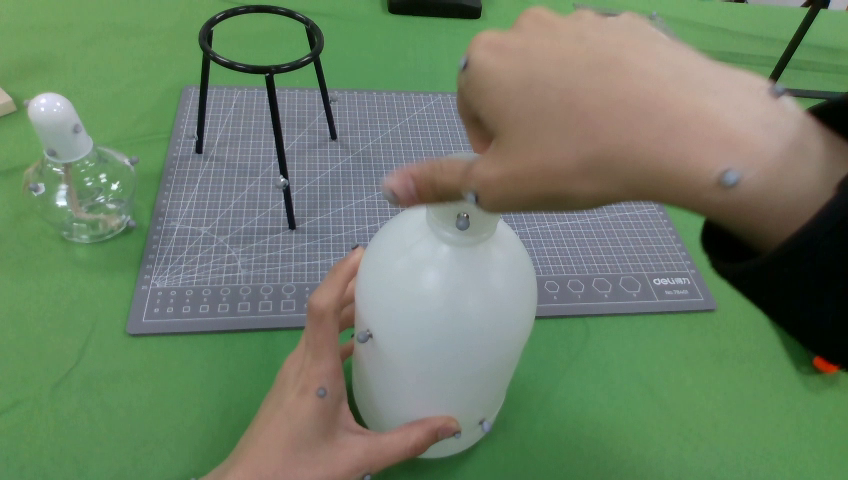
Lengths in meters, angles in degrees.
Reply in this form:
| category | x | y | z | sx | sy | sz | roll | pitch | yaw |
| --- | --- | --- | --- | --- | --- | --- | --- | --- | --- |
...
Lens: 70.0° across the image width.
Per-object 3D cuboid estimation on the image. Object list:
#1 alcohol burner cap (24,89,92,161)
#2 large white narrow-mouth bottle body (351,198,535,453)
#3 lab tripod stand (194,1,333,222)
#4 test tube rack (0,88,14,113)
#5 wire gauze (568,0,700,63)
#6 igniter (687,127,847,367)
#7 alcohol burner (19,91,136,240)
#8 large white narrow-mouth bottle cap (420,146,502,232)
| category | x | y | z | sx | sy | sz | roll | pitch | yaw |
| --- | --- | --- | --- | --- | --- | --- | --- | --- | --- |
| alcohol burner cap | -0.253 | -0.080 | 0.415 | 0.034 | 0.048 | 0.033 | 3 | 54 | -4 |
| large white narrow-mouth bottle body | 0.009 | 0.038 | 0.344 | 0.102 | 0.196 | 0.101 | 4 | 48 | -4 |
| lab tripod stand | -0.126 | -0.109 | 0.492 | 0.149 | 0.132 | 0.147 | 6 | 48 | -6 |
| test tube rack | -0.477 | -0.108 | 0.472 | 0.066 | 0.086 | 0.242 | 37 | 53 | 23 |
| wire gauze | 0.233 | -0.234 | 0.684 | 0.122 | 0.011 | 0.123 | 1 | 49 | -10 |
| igniter | 0.301 | -0.008 | 0.543 | 0.057 | 0.025 | 0.273 | 8 | 47 | -16 |
| alcohol burner | -0.257 | -0.057 | 0.443 | 0.078 | 0.120 | 0.077 | 6 | 46 | -5 |
| large white narrow-mouth bottle cap | 0.017 | -0.023 | 0.279 | 0.038 | 0.024 | 0.037 | 4 | 48 | -4 |
